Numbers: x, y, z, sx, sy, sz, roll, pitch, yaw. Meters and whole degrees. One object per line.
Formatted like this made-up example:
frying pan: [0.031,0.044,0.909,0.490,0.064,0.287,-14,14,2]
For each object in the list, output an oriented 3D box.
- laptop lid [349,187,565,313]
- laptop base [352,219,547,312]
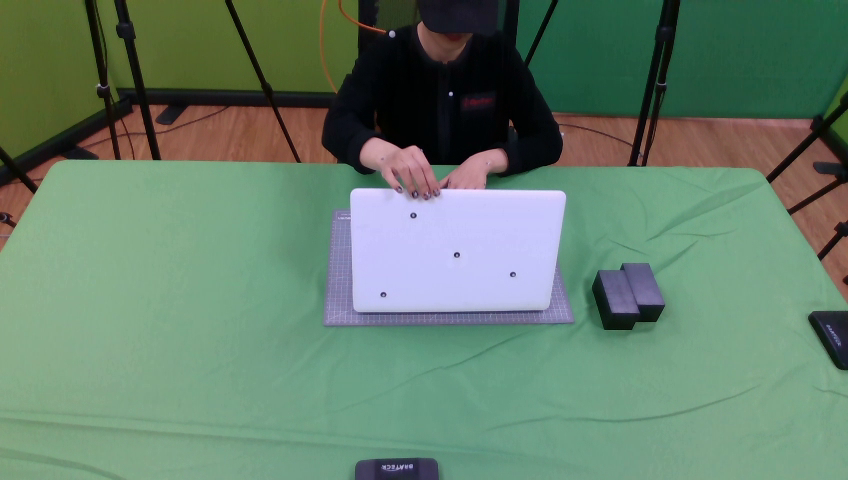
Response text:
laptop lid: [0.053,0.022,1.021,0.357,0.242,0.013,1,26,-5]
laptop base: [0.043,0.044,1.162,0.355,0.023,0.234,0,43,-5]
